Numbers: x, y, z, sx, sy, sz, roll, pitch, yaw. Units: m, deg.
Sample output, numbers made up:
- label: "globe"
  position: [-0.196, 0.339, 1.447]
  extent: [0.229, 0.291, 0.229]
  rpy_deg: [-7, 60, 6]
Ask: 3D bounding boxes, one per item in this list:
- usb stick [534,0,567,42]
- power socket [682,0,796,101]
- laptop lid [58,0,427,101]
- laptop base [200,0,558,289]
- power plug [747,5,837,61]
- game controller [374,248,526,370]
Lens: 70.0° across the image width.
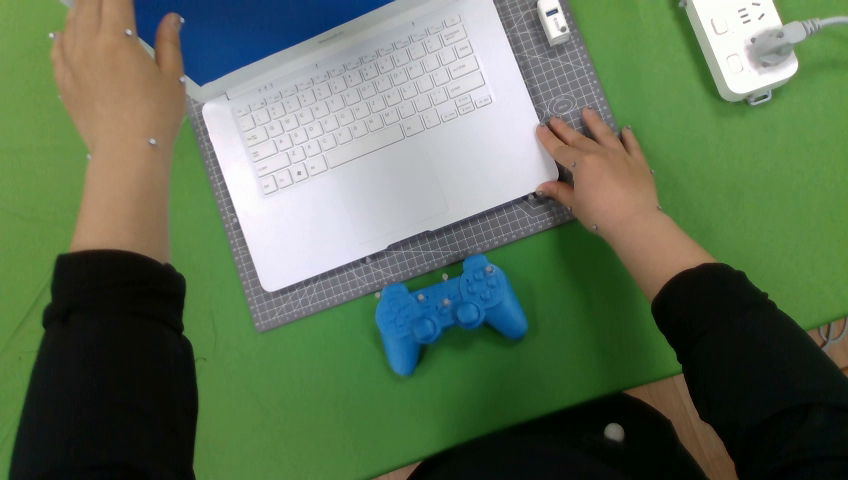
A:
- label: "usb stick"
  position: [0.132, -0.243, 0.642]
  extent: [0.021, 0.027, 0.059]
  rpy_deg: [-21, 81, 8]
- label: "power socket"
  position: [0.302, -0.252, 0.614]
  extent: [0.072, 0.033, 0.226]
  rpy_deg: [-19, 84, 9]
- label: "laptop lid"
  position: [-0.125, -0.247, 0.572]
  extent: [0.356, 0.243, 0.013]
  rpy_deg: [-22, 75, 9]
- label: "laptop base"
  position: [-0.058, -0.113, 0.673]
  extent: [0.354, 0.023, 0.235]
  rpy_deg: [-21, 87, 7]
- label: "power plug"
  position: [0.351, -0.194, 0.583]
  extent: [0.072, 0.053, 0.035]
  rpy_deg: [-8, 84, 4]
- label: "game controller"
  position: [0.022, 0.071, 0.636]
  extent: [0.155, 0.052, 0.096]
  rpy_deg: [-20, 80, 8]
